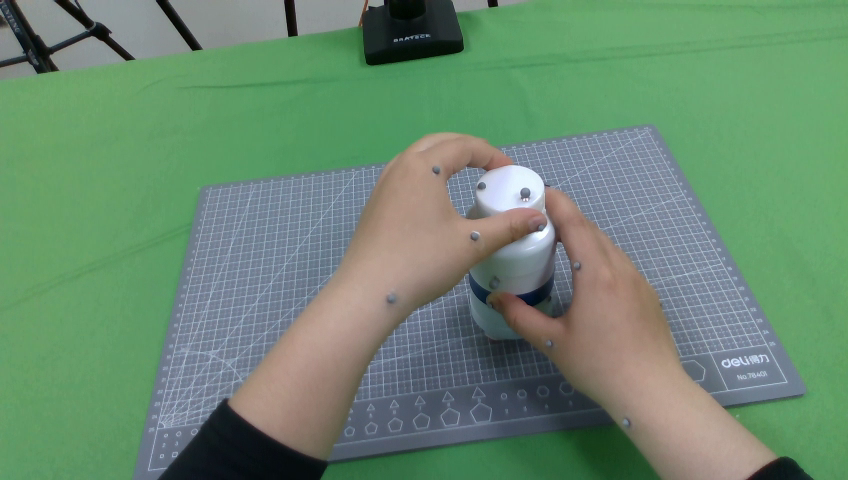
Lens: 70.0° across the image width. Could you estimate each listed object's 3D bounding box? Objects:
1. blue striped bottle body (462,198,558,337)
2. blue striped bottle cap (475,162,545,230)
[{"bbox_3d":[0.060,0.010,0.421,0.063,0.122,0.062,-4,47,5],"label":"blue striped bottle body"},{"bbox_3d":[0.054,-0.029,0.381,0.044,0.021,0.044,-5,50,6],"label":"blue striped bottle cap"}]
